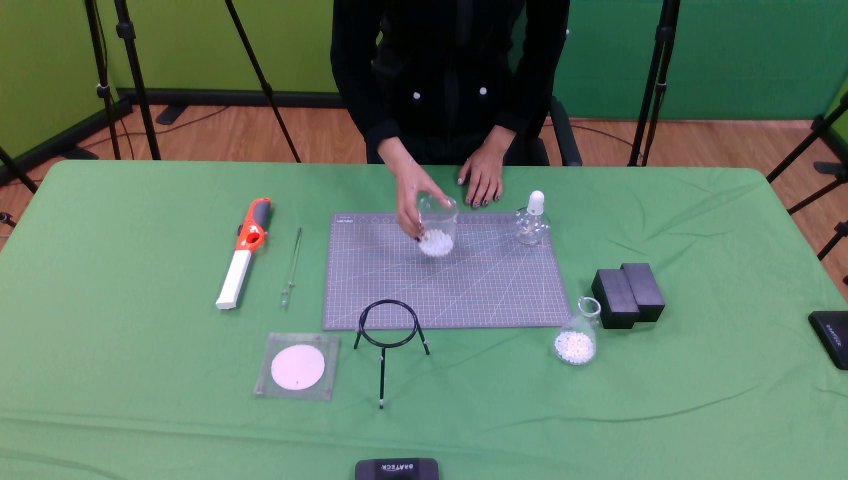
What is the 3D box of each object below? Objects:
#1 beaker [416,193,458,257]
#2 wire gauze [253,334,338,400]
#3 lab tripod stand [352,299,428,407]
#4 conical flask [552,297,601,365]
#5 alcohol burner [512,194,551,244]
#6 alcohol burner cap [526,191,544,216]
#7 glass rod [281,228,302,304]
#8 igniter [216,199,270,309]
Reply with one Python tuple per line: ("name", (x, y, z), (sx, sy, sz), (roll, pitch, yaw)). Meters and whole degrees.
("beaker", (0.020, -0.023, 1.114), (0.073, 0.101, 0.084), (33, 52, 27))
("wire gauze", (-0.209, 0.204, 0.996), (0.125, 0.011, 0.120), (3, 45, 1))
("lab tripod stand", (-0.056, 0.166, 0.958), (0.148, 0.132, 0.147), (3, 44, -2))
("conical flask", (0.261, 0.147, 1.009), (0.075, 0.122, 0.075), (2, 46, -2))
("alcohol burner", (0.215, -0.048, 1.196), (0.078, 0.119, 0.077), (4, 46, -4))
("alcohol burner cap", (0.216, -0.073, 1.170), (0.034, 0.048, 0.033), (0, 42, 1))
("glass rod", (-0.250, 0.045, 1.146), (0.008, 0.008, 0.198), (3, 43, -1))
("igniter", (-0.342, 0.016, 1.153), (0.057, 0.025, 0.275), (-3, 45, 7))
